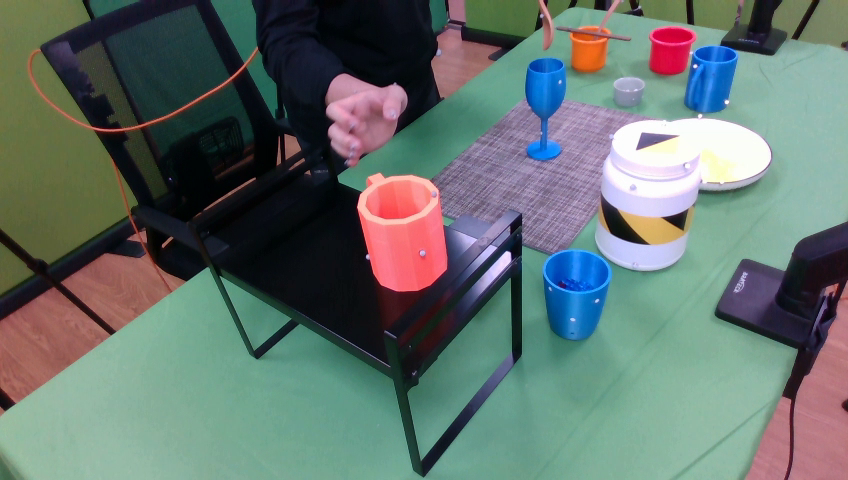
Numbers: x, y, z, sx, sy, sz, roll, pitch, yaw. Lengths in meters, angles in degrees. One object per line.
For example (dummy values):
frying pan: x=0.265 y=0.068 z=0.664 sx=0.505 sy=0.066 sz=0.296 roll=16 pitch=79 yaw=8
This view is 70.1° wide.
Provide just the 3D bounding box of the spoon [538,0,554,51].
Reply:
spoon: x=0.198 y=-0.422 z=1.029 sx=0.022 sy=0.194 sz=0.041 roll=-14 pitch=10 yaw=-3

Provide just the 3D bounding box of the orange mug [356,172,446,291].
orange mug: x=-0.030 y=-0.018 z=0.669 sx=0.084 sy=0.101 sz=0.125 roll=-23 pitch=47 yaw=-16

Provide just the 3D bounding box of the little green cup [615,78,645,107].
little green cup: x=0.426 y=-0.306 z=1.257 sx=0.061 sy=0.039 sz=0.061 roll=-4 pitch=40 yaw=4

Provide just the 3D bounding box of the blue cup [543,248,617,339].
blue cup: x=0.199 y=0.076 z=0.797 sx=0.092 sy=0.100 sz=0.092 roll=-4 pitch=38 yaw=4

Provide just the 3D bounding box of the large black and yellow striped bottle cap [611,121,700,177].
large black and yellow striped bottle cap: x=0.315 y=-0.126 z=0.823 sx=0.115 sy=0.019 sz=0.114 roll=-4 pitch=42 yaw=4

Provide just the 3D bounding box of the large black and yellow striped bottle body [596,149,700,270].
large black and yellow striped bottle body: x=0.323 y=-0.062 z=0.877 sx=0.131 sy=0.185 sz=0.130 roll=-4 pitch=40 yaw=4

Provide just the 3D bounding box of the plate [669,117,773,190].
plate: x=0.495 y=-0.148 z=1.063 sx=0.209 sy=0.038 sz=0.208 roll=-5 pitch=40 yaw=4

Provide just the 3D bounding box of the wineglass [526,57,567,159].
wineglass: x=0.221 y=-0.237 z=1.097 sx=0.074 sy=0.173 sz=0.073 roll=-5 pitch=41 yaw=4

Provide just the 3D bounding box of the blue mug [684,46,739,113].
blue mug: x=0.556 y=-0.310 z=1.190 sx=0.117 sy=0.106 sz=0.081 roll=-32 pitch=46 yaw=-25

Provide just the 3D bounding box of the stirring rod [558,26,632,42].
stirring rod: x=0.381 y=-0.463 z=1.356 sx=0.175 sy=0.006 sz=0.014 roll=22 pitch=47 yaw=30

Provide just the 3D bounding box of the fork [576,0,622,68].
fork: x=0.409 y=-0.484 z=1.381 sx=0.028 sy=0.019 sz=0.207 roll=37 pitch=101 yaw=46
